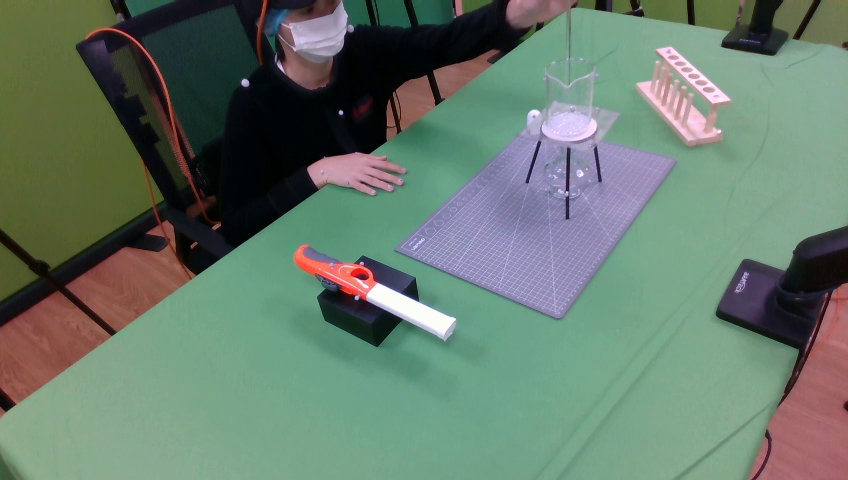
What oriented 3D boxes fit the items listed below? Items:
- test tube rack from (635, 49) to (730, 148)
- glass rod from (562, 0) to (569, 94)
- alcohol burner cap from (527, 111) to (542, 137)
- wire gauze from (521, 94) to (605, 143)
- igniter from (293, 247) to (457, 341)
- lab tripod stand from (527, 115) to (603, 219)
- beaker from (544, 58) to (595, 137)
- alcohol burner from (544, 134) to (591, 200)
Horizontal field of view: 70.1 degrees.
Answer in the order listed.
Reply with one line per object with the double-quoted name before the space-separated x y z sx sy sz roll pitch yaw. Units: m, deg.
"test tube rack" 0.497 -0.283 1.184 0.067 0.085 0.240 -10 40 -2
"glass rod" 0.203 -0.307 0.864 0.008 0.200 0.008 -4 31 3
"alcohol burner cap" 0.221 -0.233 1.200 0.034 0.048 0.033 -6 41 6
"wire gauze" 0.220 -0.190 0.949 0.121 0.011 0.125 7 46 14
"igniter" -0.077 0.068 0.830 0.274 0.025 0.057 22 48 27
"lab tripod stand" 0.235 -0.129 1.002 0.148 0.132 0.147 -6 40 6
"beaker" 0.222 -0.214 0.927 0.074 0.101 0.084 3 42 16
"alcohol burner" 0.241 -0.127 1.014 0.078 0.119 0.077 -5 42 5
